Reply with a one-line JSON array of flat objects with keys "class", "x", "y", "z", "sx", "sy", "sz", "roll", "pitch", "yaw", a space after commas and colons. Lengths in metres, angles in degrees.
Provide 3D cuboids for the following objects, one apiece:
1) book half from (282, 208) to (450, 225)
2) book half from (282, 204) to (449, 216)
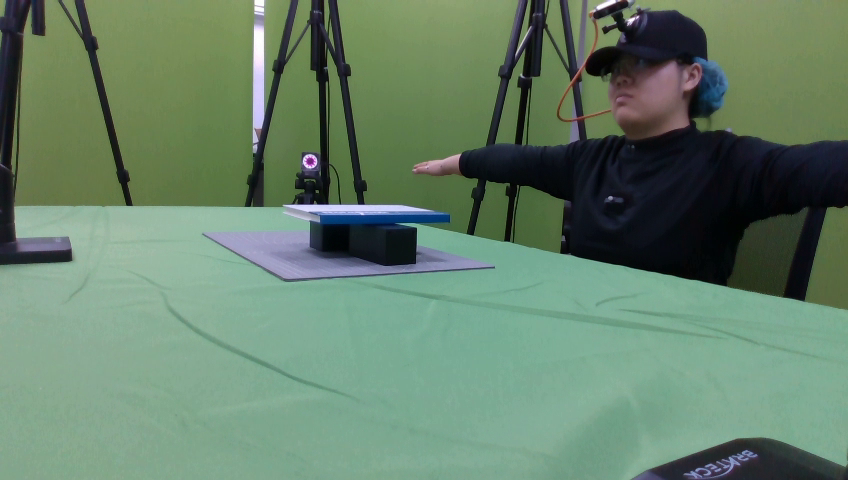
[{"class": "book half", "x": -0.086, "y": -0.037, "z": 0.905, "sx": 0.211, "sy": 0.016, "sz": 0.148, "roll": -1, "pitch": 9, "yaw": -32}, {"class": "book half", "x": -0.088, "y": -0.045, "z": 0.907, "sx": 0.211, "sy": 0.007, "sz": 0.142, "roll": -2, "pitch": 9, "yaw": -32}]
